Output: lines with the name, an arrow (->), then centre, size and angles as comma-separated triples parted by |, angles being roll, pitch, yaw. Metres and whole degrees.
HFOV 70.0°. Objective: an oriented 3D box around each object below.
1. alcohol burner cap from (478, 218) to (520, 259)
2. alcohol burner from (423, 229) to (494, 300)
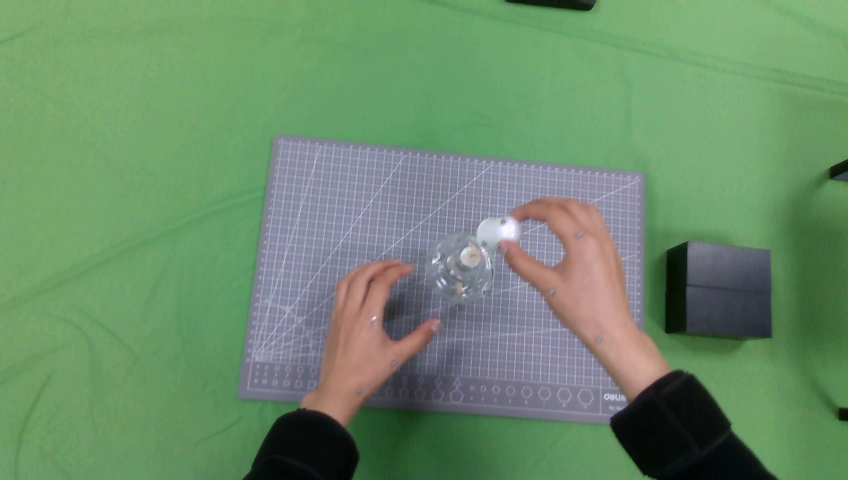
alcohol burner cap -> 0.070, -0.003, 0.554 | 0.034, 0.048, 0.033 | 2, 78, -8
alcohol burner -> 0.040, 0.024, 0.645 | 0.078, 0.119, 0.077 | 1, 79, -7
